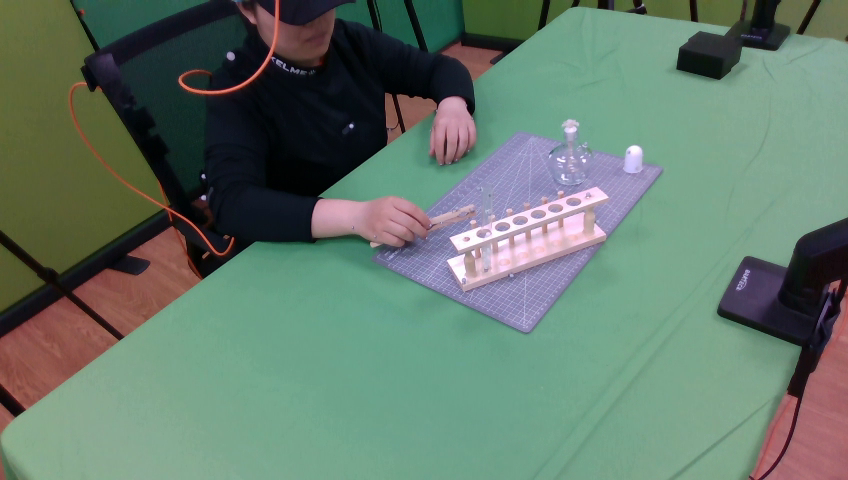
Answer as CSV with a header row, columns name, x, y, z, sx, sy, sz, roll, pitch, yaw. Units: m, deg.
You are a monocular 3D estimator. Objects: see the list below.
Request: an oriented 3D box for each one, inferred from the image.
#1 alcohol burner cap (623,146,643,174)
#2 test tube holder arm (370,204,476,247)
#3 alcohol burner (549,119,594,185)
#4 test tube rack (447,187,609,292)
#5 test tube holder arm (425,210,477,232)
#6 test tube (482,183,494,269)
name,x,y,z,sx,sy,sz,roll,pitch,yaw
alcohol burner cap,0.369,-0.143,1.061,0.034,0.048,0.033,-7,41,6
test tube holder arm,-0.003,-0.023,0.969,0.178,0.013,0.015,-18,15,2
alcohol burner,0.254,-0.155,1.043,0.078,0.120,0.077,-7,40,6
test tube rack,0.155,-0.011,0.913,0.243,0.085,0.066,-19,41,-11
test tube holder arm,0.042,-0.032,0.969,0.088,0.010,0.015,-18,15,2
test tube,0.090,-0.016,0.854,0.017,0.151,0.017,-2,39,2
